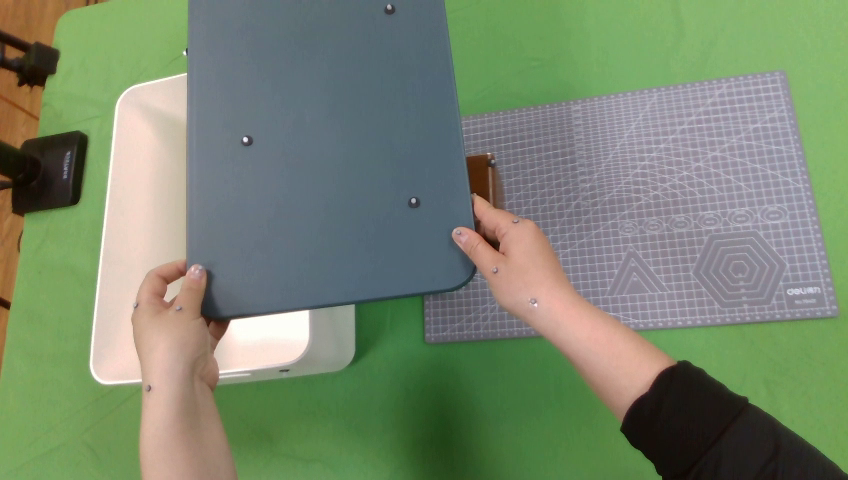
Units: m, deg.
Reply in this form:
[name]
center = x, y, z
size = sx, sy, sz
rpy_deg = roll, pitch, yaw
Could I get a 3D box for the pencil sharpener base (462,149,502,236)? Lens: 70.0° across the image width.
[pencil sharpener base]
center = 0.055, -0.048, 0.709
size = 0.061, 0.108, 0.076
rpy_deg = -5, 73, 12

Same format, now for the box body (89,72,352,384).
[box body]
center = -0.230, -0.013, 0.741
size = 0.254, 0.161, 0.361
rpy_deg = -8, 72, 11

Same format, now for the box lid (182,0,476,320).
[box lid]
center = -0.101, -0.120, 0.578
size = 0.263, 0.015, 0.369
rpy_deg = -8, 74, 3

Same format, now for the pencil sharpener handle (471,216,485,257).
[pencil sharpener handle]
center = 0.056, -0.003, 0.682
size = 0.036, 0.068, 0.030
rpy_deg = -8, 72, 19
